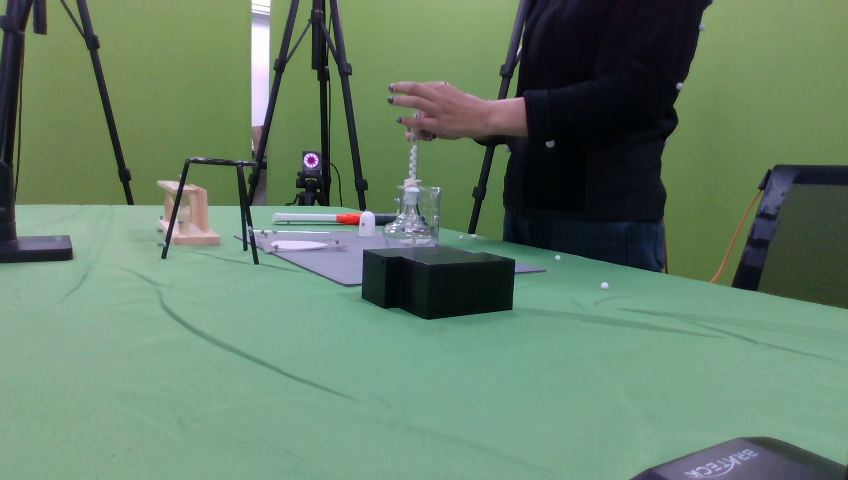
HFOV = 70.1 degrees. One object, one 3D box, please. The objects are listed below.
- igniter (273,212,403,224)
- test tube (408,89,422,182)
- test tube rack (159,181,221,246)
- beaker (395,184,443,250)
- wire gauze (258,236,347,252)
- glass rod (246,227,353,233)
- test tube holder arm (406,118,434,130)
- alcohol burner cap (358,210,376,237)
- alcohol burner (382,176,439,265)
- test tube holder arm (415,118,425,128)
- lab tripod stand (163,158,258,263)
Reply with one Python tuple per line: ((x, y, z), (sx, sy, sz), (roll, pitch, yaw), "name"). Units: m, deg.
((-0.179, -0.048, 1.290), (0.278, 0.025, 0.057), (-1, -2, -24), "igniter")
((-0.015, -0.170, 0.987), (0.017, 0.150, 0.017), (4, 8, 0), "test tube")
((-0.395, -0.050, 1.010), (0.067, 0.085, 0.241), (-2, 8, -28), "test tube rack")
((-0.007, -0.037, 0.965), (0.074, 0.100, 0.083), (-4, 10, -40), "beaker")
((-0.189, 0.005, 0.931), (0.122, 0.011, 0.124), (1, 7, -21), "wire gauze")
((-0.224, -0.017, 1.109), (0.201, 0.008, 0.008), (1, 7, -27), "glass rod")
((-0.004, -0.201, 1.051), (0.013, 0.015, 0.178), (8, 10, 10), "test tube holder arm")
((-0.104, -0.030, 1.098), (0.034, 0.048, 0.034), (2, 7, 0), "alcohol burner cap")
((-0.018, -0.027, 0.818), (0.078, 0.119, 0.078), (3, 10, 0), "alcohol burner")
((-0.006, -0.194, 1.006), (0.010, 0.015, 0.088), (7, 9, 3), "test tube holder arm")
((-0.265, -0.041, 0.802), (0.148, 0.131, 0.148), (4, 7, 0), "lab tripod stand")
